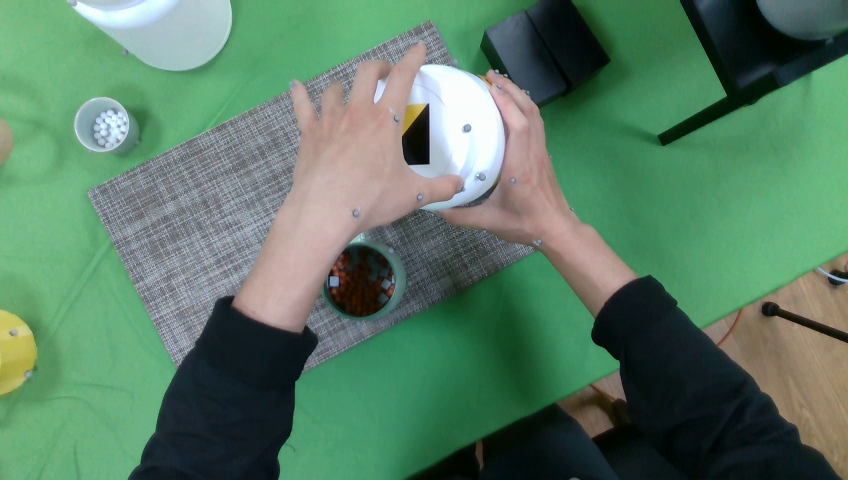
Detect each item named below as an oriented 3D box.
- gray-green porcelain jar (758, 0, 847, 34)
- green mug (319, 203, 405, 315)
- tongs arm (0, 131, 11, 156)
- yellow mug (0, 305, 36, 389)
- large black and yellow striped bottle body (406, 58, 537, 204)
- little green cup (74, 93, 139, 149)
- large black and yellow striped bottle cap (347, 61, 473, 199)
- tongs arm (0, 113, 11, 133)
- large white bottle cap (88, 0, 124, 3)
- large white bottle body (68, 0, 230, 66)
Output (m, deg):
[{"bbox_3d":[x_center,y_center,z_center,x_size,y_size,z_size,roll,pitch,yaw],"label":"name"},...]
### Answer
[{"bbox_3d":[0.344,-0.235,0.491,0.106,0.126,0.105,0,88,-1],"label":"gray-green porcelain jar"},{"bbox_3d":[-0.070,0.022,0.660,0.092,0.105,0.125,-10,88,-1],"label":"green mug"},{"bbox_3d":[-0.645,-0.097,0.650,0.385,0.026,0.050,1,85,0],"label":"tongs arm"},{"bbox_3d":[-0.500,0.138,0.668,0.100,0.064,0.130,5,90,-2],"label":"yellow mug"},{"bbox_3d":[0.024,-0.104,0.587,0.130,0.184,0.131,5,101,26],"label":"large black and yellow striped bottle body"},{"bbox_3d":[-0.359,-0.133,0.691,0.061,0.038,0.061,0,89,-2],"label":"little green cup"},{"bbox_3d":[-0.014,-0.092,0.513,0.114,0.019,0.115,4,100,26],"label":"large black and yellow striped bottle cap"},{"bbox_3d":[-0.636,-0.180,0.654,0.387,0.028,0.028,15,82,1],"label":"tongs arm"},{"bbox_3d":[-0.287,-0.270,0.538,0.115,0.018,0.114,0,90,-1],"label":"large white bottle cap"},{"bbox_3d":[-0.289,-0.268,0.622,0.131,0.184,0.130,0,89,-1],"label":"large white bottle body"}]
